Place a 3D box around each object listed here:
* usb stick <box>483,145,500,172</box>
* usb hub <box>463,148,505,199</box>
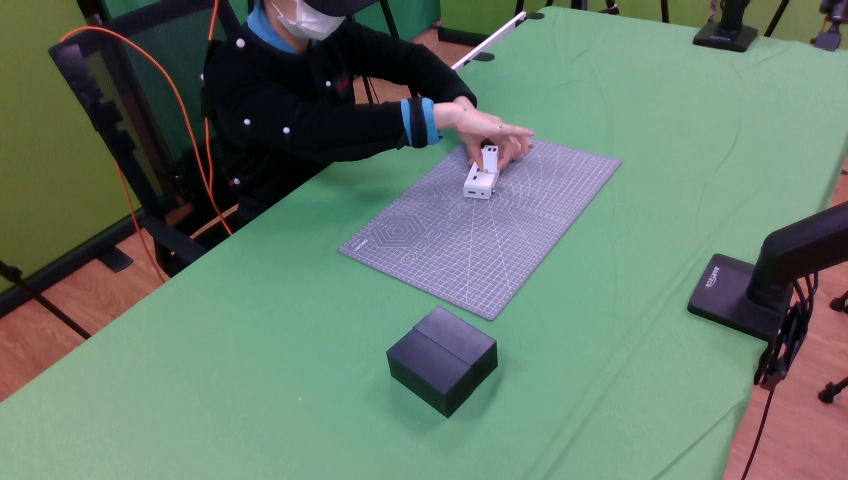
[{"bbox_3d":[0.118,-0.137,1.058,0.027,0.059,0.021,8,47,13],"label":"usb stick"},{"bbox_3d":[0.109,-0.121,1.087,0.049,0.025,0.125,8,43,16],"label":"usb hub"}]
